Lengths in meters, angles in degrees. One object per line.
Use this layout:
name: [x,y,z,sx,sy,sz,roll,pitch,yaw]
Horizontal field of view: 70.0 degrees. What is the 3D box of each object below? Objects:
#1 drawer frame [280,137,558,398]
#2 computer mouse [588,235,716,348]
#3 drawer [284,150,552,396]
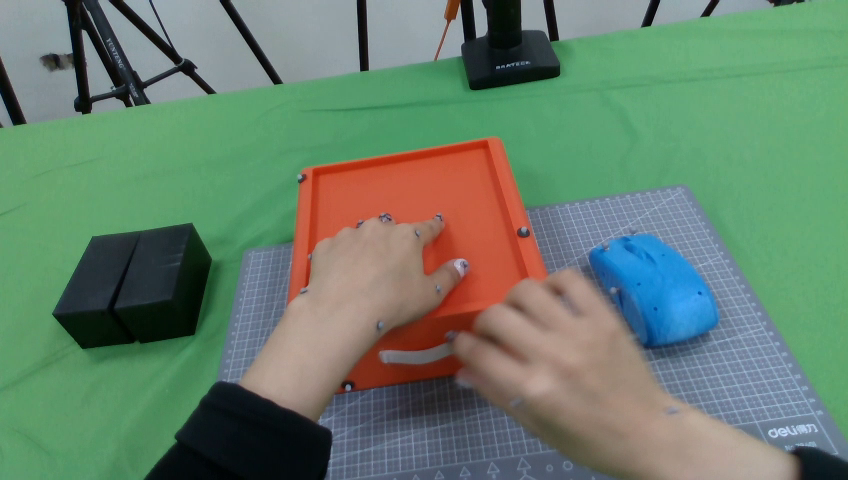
drawer frame: [-0.010,0.015,0.523,0.202,0.083,0.211,-10,42,1]
computer mouse: [0.184,0.035,0.499,0.063,0.041,0.116,-15,39,-2]
drawer: [-0.009,0.018,0.522,0.194,0.074,0.209,-10,43,2]
